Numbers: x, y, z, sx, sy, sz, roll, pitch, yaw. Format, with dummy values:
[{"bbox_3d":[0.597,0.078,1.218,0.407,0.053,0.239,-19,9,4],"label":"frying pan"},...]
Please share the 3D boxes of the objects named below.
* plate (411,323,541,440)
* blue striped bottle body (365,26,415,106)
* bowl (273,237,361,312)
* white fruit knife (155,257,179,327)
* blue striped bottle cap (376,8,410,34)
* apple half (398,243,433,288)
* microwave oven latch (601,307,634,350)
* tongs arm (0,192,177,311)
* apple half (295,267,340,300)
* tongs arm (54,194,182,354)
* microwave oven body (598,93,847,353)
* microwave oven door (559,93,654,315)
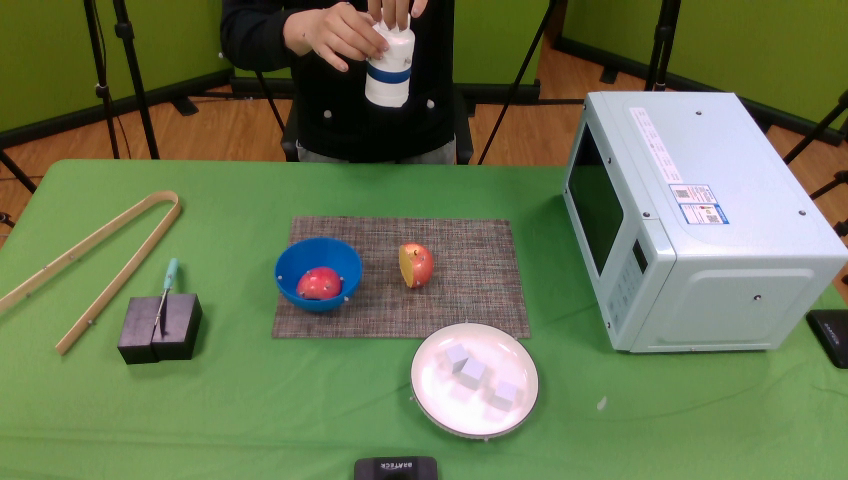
[{"bbox_3d":[0.082,0.228,0.976,0.208,0.039,0.206,2,45,-2],"label":"plate"},{"bbox_3d":[-0.048,-0.254,0.846,0.063,0.121,0.062,6,42,-5],"label":"blue striped bottle body"},{"bbox_3d":[-0.186,0.074,1.070,0.151,0.077,0.150,3,46,-3],"label":"bowl"},{"bbox_3d":[-0.440,0.085,1.037,0.016,0.027,0.206,10,26,-19],"label":"white fruit knife"},{"bbox_3d":[-0.042,-0.293,0.810,0.044,0.021,0.044,10,39,-8],"label":"blue striped bottle cap"},{"bbox_3d":[-0.012,0.046,1.115,0.053,0.075,0.080,-11,44,-19],"label":"apple half"},{"bbox_3d":[0.331,0.153,1.044,0.030,0.029,0.078,-2,45,-5],"label":"microwave oven latch"},{"bbox_3d":[-0.618,0.019,1.124,0.050,0.026,0.384,23,47,16],"label":"tongs arm"},{"bbox_3d":[-0.187,0.070,1.067,0.081,0.033,0.081,3,47,-3],"label":"apple half"},{"bbox_3d":[-0.543,0.048,1.107,0.028,0.028,0.385,11,45,10],"label":"tongs arm"},{"bbox_3d":[0.475,-0.041,1.109,0.326,0.261,0.438,-1,45,-4],"label":"microwave oven body"},{"bbox_3d":[0.327,-0.074,1.123,0.039,0.245,0.353,-1,46,-5],"label":"microwave oven door"}]
